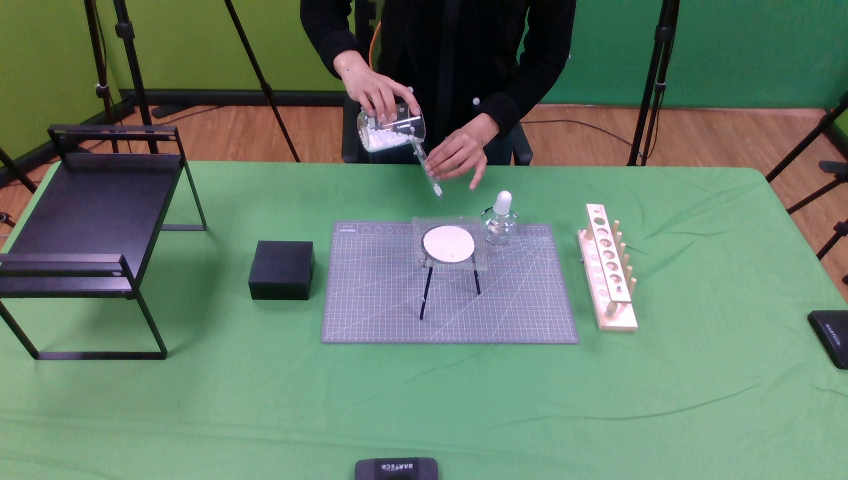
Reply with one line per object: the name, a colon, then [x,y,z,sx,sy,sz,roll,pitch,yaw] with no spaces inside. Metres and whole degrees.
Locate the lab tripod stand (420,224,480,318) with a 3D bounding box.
lab tripod stand: [0.034,0.051,1.071,0.148,0.132,0.147,3,48,-3]

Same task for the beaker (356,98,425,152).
beaker: [-0.059,-0.191,1.030,0.100,0.084,0.073,-17,49,-17]

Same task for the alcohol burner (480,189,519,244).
alcohol burner: [0.150,-0.051,1.191,0.078,0.120,0.077,1,47,-1]

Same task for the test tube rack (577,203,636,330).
test tube rack: [0.348,0.045,1.138,0.067,0.085,0.241,2,46,-2]

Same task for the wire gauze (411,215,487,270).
wire gauze: [0.041,0.002,1.026,0.125,0.011,0.120,1,46,-3]

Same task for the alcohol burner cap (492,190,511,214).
alcohol burner cap: [0.151,-0.076,1.166,0.034,0.048,0.033,5,52,-6]

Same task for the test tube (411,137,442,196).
test tube: [0.006,-0.134,1.127,0.017,0.151,0.017,-11,50,14]
